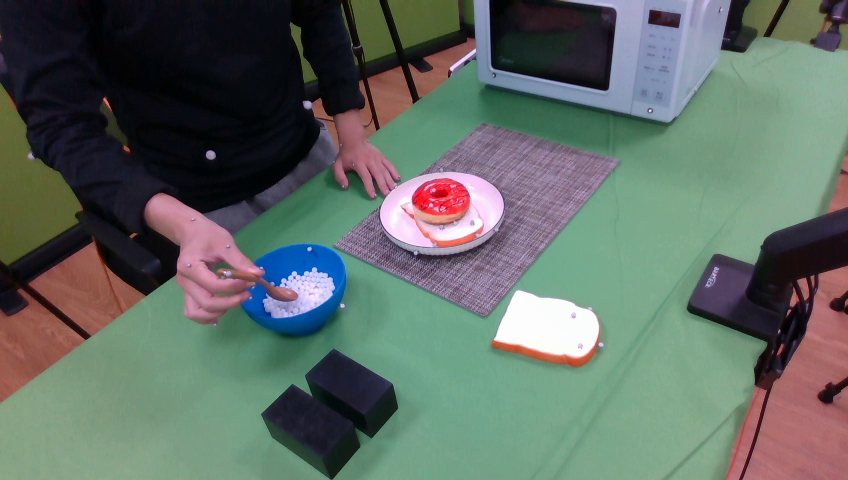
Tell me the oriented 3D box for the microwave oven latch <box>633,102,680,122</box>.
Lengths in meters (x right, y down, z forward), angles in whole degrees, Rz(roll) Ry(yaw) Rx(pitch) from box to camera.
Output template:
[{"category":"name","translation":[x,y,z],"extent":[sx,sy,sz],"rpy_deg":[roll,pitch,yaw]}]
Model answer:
[{"category":"microwave oven latch","translation":[0.444,-0.249,1.157],"extent":[0.078,0.029,0.030],"rpy_deg":[21,49,30]}]

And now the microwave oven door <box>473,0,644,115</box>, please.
[{"category":"microwave oven door","translation":[0.257,-0.396,1.199],"extent":[0.353,0.245,0.039],"rpy_deg":[21,48,29]}]

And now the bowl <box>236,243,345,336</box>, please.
[{"category":"bowl","translation":[-0.180,0.082,0.855],"extent":[0.151,0.077,0.150],"rpy_deg":[-4,41,4]}]

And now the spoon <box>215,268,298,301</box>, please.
[{"category":"spoon","translation":[-0.205,0.053,0.746],"extent":[0.041,0.194,0.021],"rpy_deg":[21,79,15]}]

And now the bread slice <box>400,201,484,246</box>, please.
[{"category":"bread slice","translation":[0.037,-0.038,0.990],"extent":[0.107,0.018,0.133],"rpy_deg":[-23,42,-17]}]

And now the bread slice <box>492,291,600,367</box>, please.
[{"category":"bread slice","translation":[0.169,0.118,0.811],"extent":[0.131,0.019,0.105],"rpy_deg":[11,44,22]}]

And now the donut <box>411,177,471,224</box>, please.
[{"category":"donut","translation":[0.028,-0.064,0.978],"extent":[0.099,0.048,0.098],"rpy_deg":[-4,40,4]}]

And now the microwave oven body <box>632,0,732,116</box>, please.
[{"category":"microwave oven body","translation":[0.377,-0.462,1.267],"extent":[0.438,0.261,0.327],"rpy_deg":[21,48,30]}]

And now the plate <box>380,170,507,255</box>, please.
[{"category":"plate","translation":[0.033,-0.042,0.995],"extent":[0.207,0.039,0.206],"rpy_deg":[-4,40,4]}]
